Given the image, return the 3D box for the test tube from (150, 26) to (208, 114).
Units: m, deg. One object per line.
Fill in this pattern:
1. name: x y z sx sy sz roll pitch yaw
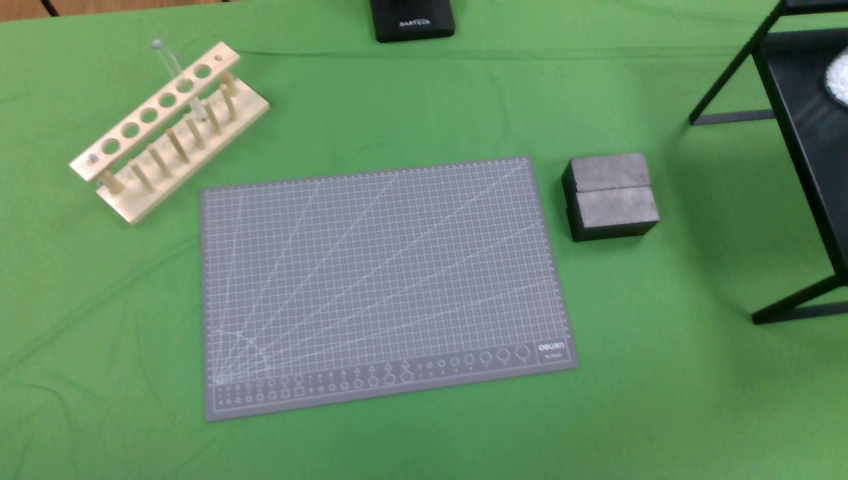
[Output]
1. test tube: -0.300 -0.206 0.752 0.017 0.151 0.017 -1 65 2

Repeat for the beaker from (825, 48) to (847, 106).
1. beaker: 0.498 -0.196 0.659 0.084 0.101 0.073 -11 70 -7

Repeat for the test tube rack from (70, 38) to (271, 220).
1. test tube rack: -0.316 -0.144 0.781 0.066 0.085 0.242 40 72 11
